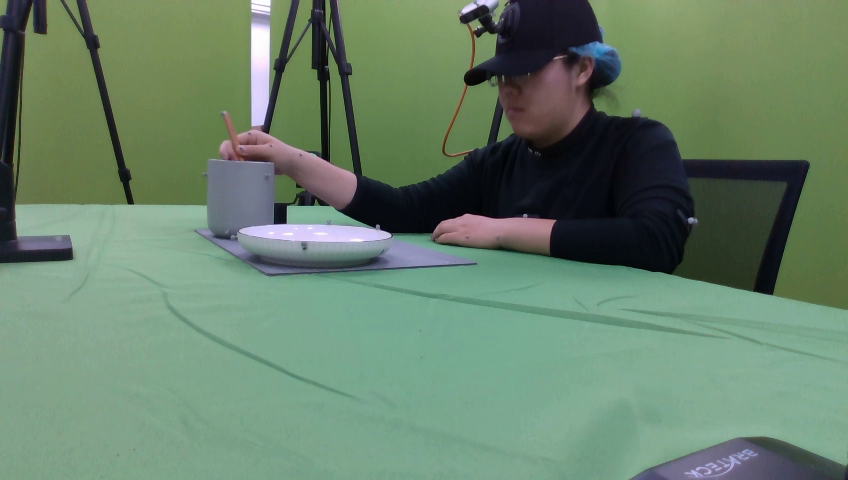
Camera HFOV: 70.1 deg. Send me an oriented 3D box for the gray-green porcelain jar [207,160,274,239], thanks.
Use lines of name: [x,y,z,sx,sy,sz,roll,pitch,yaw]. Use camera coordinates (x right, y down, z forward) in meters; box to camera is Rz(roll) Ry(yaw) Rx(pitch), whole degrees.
gray-green porcelain jar: [-0.304,-0.068,1.004,0.106,0.126,0.106,3,7,0]

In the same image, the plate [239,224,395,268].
plate: [-0.144,0.007,0.823,0.208,0.039,0.207,3,7,0]

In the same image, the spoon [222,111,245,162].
spoon: [-0.305,-0.119,1.011,0.021,0.193,0.042,-6,10,29]
